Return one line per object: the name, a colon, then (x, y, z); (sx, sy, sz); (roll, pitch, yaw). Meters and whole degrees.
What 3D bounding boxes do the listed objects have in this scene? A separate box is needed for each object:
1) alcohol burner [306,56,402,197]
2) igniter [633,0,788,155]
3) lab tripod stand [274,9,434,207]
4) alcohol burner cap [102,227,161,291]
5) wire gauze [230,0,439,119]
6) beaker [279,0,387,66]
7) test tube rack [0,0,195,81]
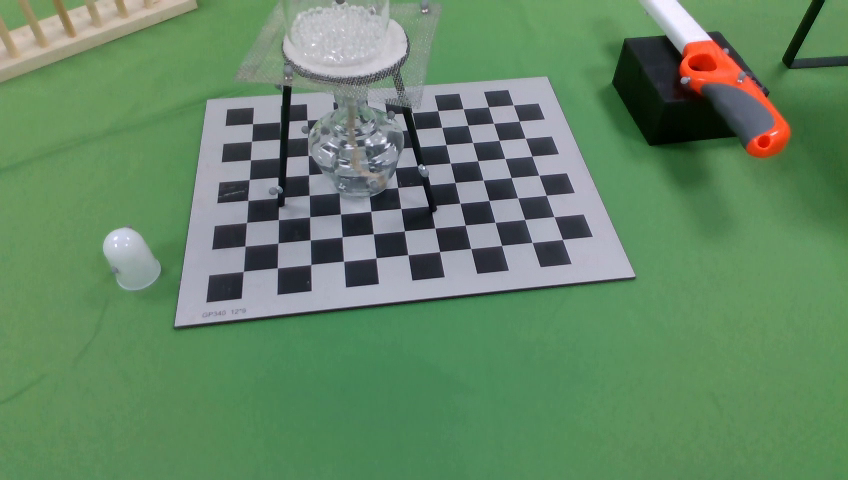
alcohol burner: (-0.057, -0.092, 0.482); (0.078, 0.120, 0.077); (-1, 51, 1)
igniter: (0.251, -0.170, 0.555); (0.057, 0.025, 0.273); (-8, 49, -4)
lab tripod stand: (-0.054, -0.098, 0.474); (0.148, 0.132, 0.147); (2, 49, -2)
alcohol burner cap: (-0.218, 0.011, 0.445); (0.034, 0.048, 0.033); (1, 50, -1)
wire gauze: (-0.056, -0.137, 0.422); (0.125, 0.011, 0.120); (11, 53, 2)
beaker: (-0.059, -0.169, 0.383); (0.074, 0.101, 0.083); (1, 51, -2)
test tube rack: (-0.375, -0.253, 0.630); (0.242, 0.086, 0.066); (-34, 59, -26)
